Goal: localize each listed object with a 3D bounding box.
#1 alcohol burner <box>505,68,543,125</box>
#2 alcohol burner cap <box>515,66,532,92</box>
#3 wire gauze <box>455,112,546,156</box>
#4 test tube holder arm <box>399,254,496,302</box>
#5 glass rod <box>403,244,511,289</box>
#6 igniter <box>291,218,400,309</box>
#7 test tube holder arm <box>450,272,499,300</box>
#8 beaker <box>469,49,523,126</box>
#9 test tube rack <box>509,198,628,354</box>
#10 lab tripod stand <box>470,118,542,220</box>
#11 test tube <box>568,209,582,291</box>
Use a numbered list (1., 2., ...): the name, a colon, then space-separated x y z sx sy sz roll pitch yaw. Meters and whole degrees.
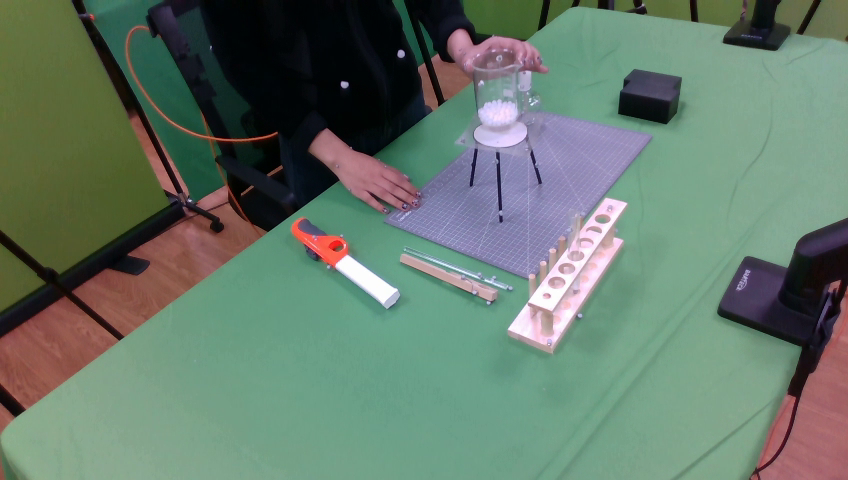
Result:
1. alcohol burner: 0.201 -0.293 1.216 0.078 0.119 0.077 -4 41 4
2. alcohol burner cap: 0.198 -0.320 1.192 0.034 0.048 0.033 0 48 1
3. wire gauze: 0.124 -0.176 0.972 0.124 0.011 0.121 9 42 21
4. test tube holder arm: 0.032 0.054 0.914 0.177 0.015 0.013 21 16 32
5. glass rod: 0.047 0.039 0.938 0.198 0.008 0.008 21 49 30
6. igniter: -0.136 0.031 0.970 0.057 0.025 0.274 -41 49 -19
7. test tube holder arm: 0.071 0.068 0.895 0.087 0.015 0.010 21 16 32
8. beaker: 0.117 -0.236 0.945 0.083 0.101 0.074 10 44 23
9. test tube rack: 0.206 0.039 0.850 0.066 0.085 0.243 20 48 31
10. lab tripod stand: 0.135 -0.128 1.019 0.148 0.132 0.147 -5 38 5
11. test tube: 0.200 0.017 0.799 0.017 0.151 0.017 -8 45 8
